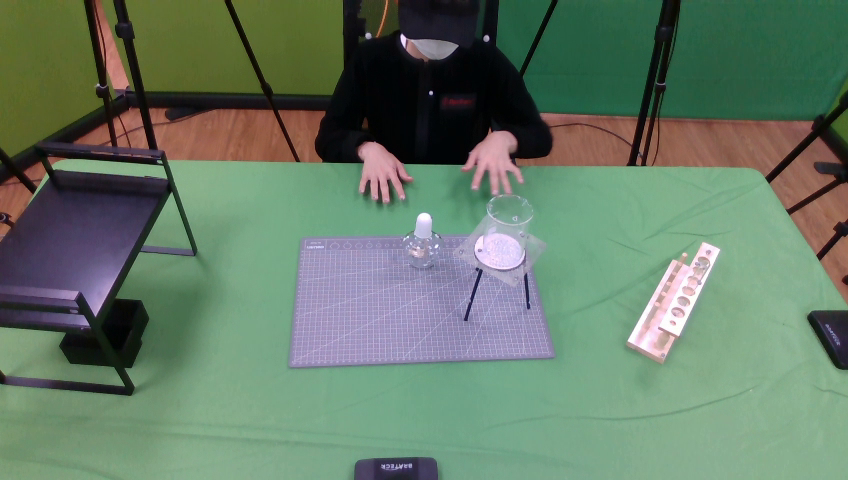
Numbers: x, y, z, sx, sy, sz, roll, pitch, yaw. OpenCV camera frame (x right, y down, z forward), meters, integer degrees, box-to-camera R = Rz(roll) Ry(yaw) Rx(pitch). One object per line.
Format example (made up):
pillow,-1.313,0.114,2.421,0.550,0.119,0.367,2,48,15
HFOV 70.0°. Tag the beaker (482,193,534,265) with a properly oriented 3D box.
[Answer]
beaker,0.135,-0.016,0.979,0.073,0.101,0.084,35,52,28

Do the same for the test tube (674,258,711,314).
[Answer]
test tube,0.456,0.082,1.033,0.017,0.151,0.017,0,51,1

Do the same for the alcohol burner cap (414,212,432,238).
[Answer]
alcohol burner cap,0.000,-0.030,1.107,0.034,0.048,0.033,4,41,-3

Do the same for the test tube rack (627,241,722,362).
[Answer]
test tube rack,0.452,0.098,1.087,0.066,0.085,0.242,28,51,22

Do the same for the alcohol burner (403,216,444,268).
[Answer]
alcohol burner,-0.001,-0.004,1.132,0.078,0.120,0.077,1,46,0

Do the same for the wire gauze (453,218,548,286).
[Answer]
wire gauze,0.129,0.014,1.018,0.124,0.011,0.121,26,47,25

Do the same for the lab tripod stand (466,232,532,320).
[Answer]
lab tripod stand,0.125,0.059,1.065,0.148,0.132,0.147,1,45,0
